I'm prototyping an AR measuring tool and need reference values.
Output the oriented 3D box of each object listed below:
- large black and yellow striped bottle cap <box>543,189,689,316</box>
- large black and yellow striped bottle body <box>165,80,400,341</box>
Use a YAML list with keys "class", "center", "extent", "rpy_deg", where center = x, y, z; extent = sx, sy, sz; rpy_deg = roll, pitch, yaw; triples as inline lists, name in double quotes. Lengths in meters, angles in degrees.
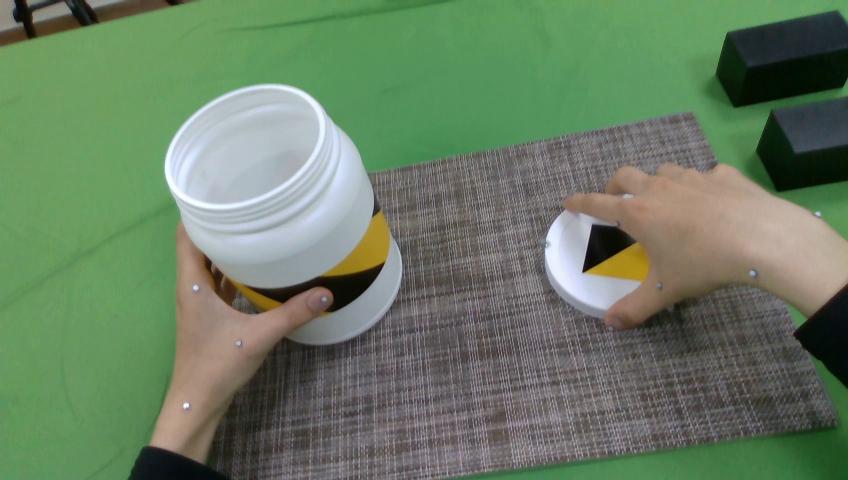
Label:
- class: "large black and yellow striped bottle cap"
  center: [0.155, 0.007, 0.496]
  extent: [0.115, 0.019, 0.114]
  rpy_deg: [-5, 57, 8]
- class: "large black and yellow striped bottle body"
  center: [-0.099, -0.016, 0.461]
  extent: [0.130, 0.186, 0.129]
  rpy_deg: [-5, 56, 9]
